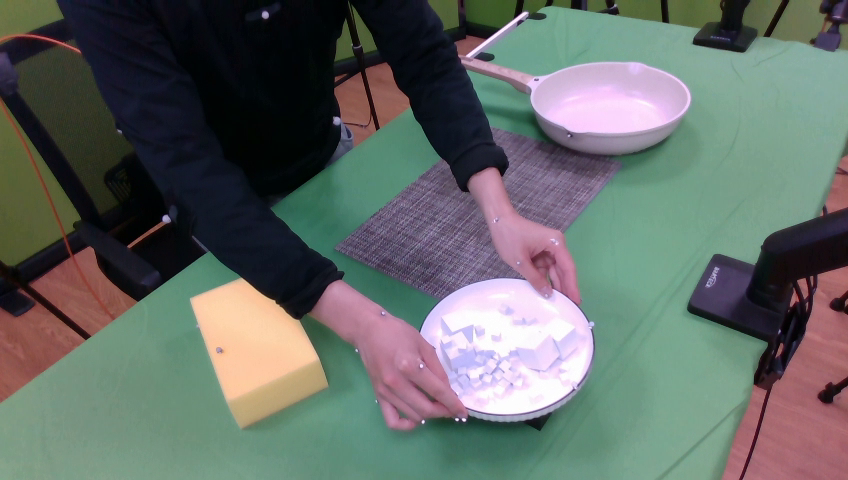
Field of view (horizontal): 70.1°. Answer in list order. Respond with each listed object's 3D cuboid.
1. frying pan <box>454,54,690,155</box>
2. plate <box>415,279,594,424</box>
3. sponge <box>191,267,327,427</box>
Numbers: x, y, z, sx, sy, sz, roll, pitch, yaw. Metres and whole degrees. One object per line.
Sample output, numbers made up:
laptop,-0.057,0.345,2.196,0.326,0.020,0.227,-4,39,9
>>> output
frying pan,0.270,-0.298,1.211,0.485,0.103,0.307,27,49,24
plate,0.094,0.131,0.716,0.207,0.039,0.206,-5,40,4
sponge,-0.226,0.135,0.814,0.119,0.061,0.205,-24,43,-19
